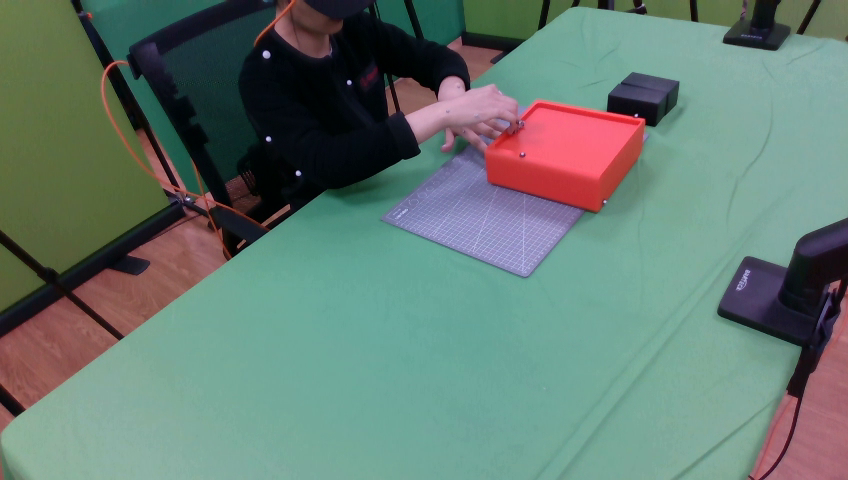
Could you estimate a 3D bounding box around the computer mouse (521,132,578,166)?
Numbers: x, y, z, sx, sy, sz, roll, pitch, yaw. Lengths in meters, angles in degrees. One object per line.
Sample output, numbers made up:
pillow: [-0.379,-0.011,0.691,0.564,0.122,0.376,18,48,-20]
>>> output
computer mouse: [0.229,-0.172,1.096,0.062,0.041,0.118,22,35,34]

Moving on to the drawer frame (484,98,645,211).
drawer frame: [0.248,-0.158,1.070,0.212,0.083,0.202,20,47,29]

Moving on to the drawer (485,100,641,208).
drawer: [0.247,-0.158,1.073,0.210,0.073,0.195,21,47,30]
